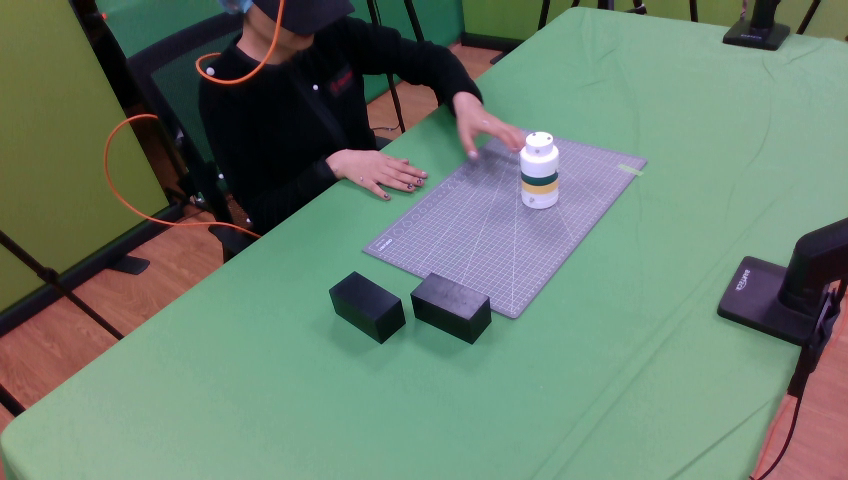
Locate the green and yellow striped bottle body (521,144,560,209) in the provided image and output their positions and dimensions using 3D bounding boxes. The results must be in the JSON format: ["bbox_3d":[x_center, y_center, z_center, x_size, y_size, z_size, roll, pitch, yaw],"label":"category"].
[{"bbox_3d":[0.193,-0.116,1.002,0.063,0.120,0.063,-5,40,5],"label":"green and yellow striped bottle body"}]

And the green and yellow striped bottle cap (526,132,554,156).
[{"bbox_3d":[0.186,-0.154,0.968,0.045,0.020,0.045,-5,38,5],"label":"green and yellow striped bottle cap"}]
